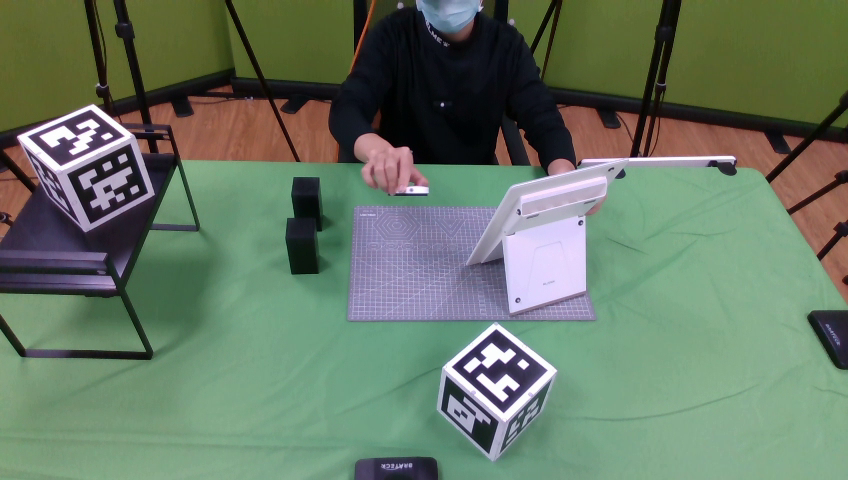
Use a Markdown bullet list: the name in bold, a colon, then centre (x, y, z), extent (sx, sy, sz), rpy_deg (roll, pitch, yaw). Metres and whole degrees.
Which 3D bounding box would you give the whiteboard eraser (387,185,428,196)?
- **whiteboard eraser**: centre (-0.030, -0.089, 1.085), extent (0.041, 0.019, 0.101), rpy_deg (-5, 6, -34)

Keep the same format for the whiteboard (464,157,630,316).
- **whiteboard**: centre (0.224, 0.015, 1.041), extent (0.217, 0.306, 0.143), rpy_deg (-14, 68, -17)
